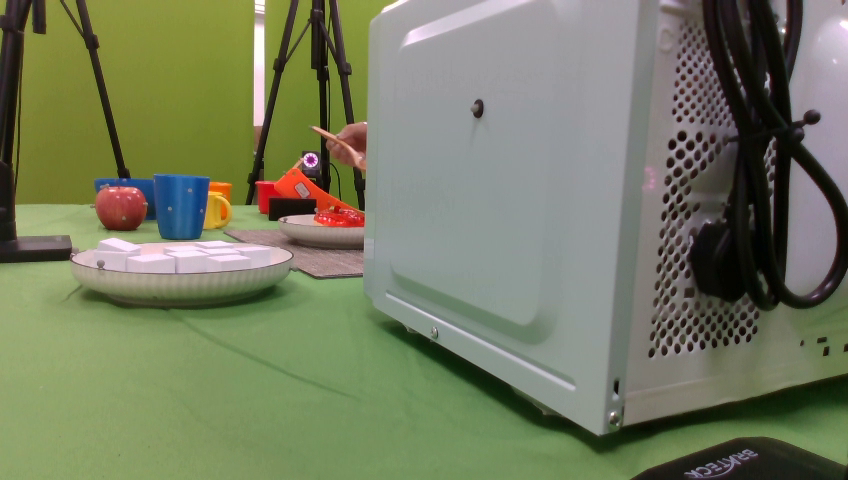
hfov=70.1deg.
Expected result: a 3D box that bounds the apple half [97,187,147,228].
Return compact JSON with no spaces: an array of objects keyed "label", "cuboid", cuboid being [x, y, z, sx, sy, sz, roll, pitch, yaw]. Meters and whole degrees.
[{"label":"apple half","cuboid":[-0.534,-0.059,1.071,0.082,0.081,0.032,-1,11,-25]}]

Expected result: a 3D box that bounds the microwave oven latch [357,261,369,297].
[{"label":"microwave oven latch","cuboid":[-0.019,0.033,0.530,0.079,0.029,0.030,-1,7,-27]}]

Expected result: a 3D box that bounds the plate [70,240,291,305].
[{"label":"plate","cuboid":[-0.242,0.031,0.618,0.208,0.039,0.207,2,8,0]}]

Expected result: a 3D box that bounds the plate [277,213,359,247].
[{"label":"plate","cuboid":[-0.134,-0.017,0.992,0.209,0.038,0.209,2,7,0]}]

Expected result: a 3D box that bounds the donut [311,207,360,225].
[{"label":"donut","cuboid":[-0.137,-0.028,0.995,0.099,0.048,0.099,4,8,0]}]

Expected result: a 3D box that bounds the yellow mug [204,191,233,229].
[{"label":"yellow mug","cuboid":[-0.415,-0.057,1.131,0.130,0.064,0.100,6,8,16]}]

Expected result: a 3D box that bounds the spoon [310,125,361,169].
[{"label":"spoon","cuboid":[-0.134,-0.157,1.023,0.042,0.021,0.193,-9,39,-45]}]

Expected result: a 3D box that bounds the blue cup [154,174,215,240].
[{"label":"blue cup","cuboid":[-0.391,-0.053,0.978,0.093,0.100,0.092,4,6,0]}]

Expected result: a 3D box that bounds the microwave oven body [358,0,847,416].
[{"label":"microwave oven body","cuboid":[0.211,-0.047,0.474,0.444,0.260,0.324,-1,7,-28]}]

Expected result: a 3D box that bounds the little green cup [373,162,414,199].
[{"label":"little green cup","cuboid":[-0.046,-0.094,0.973,0.061,0.038,0.061,-28,-5,-2]}]

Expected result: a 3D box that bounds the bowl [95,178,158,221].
[{"label":"bowl","cuboid":[-0.576,-0.081,1.217,0.151,0.077,0.151,3,8,0]}]

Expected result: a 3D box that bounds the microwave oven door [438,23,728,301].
[{"label":"microwave oven door","cuboid":[0.181,-0.072,0.621,0.358,0.243,0.039,-2,8,-29]}]

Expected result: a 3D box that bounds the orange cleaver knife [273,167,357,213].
[{"label":"orange cleaver knife","cuboid":[-0.238,-0.091,1.381,0.212,0.077,0.012,31,0,-19]}]

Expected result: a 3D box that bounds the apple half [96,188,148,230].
[{"label":"apple half","cuboid":[-0.517,-0.052,1.036,0.081,0.074,0.053,3,10,-26]}]

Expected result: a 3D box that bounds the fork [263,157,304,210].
[{"label":"fork","cuboid":[-0.345,-0.143,1.505,0.028,0.019,0.207,-4,46,28]}]
